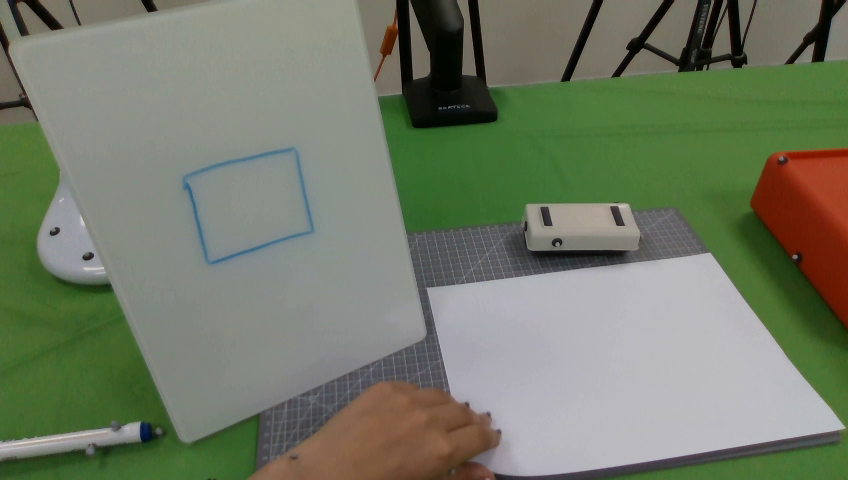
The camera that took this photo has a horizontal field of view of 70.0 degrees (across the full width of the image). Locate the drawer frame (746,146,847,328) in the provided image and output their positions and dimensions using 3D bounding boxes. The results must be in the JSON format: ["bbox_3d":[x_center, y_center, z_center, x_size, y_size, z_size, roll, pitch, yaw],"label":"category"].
[{"bbox_3d":[0.469,-0.005,0.592,0.202,0.083,0.211,-5,41,-4],"label":"drawer frame"}]

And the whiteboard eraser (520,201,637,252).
[{"bbox_3d":[0.158,-0.013,0.628,0.113,0.042,0.055,-1,40,-1],"label":"whiteboard eraser"}]

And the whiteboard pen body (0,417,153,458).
[{"bbox_3d":[-0.282,0.152,0.459,0.141,0.017,0.017,-5,41,-11],"label":"whiteboard pen body"}]

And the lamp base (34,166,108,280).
[{"bbox_3d":[-0.337,-0.078,0.601,0.178,0.182,0.160,22,46,26],"label":"lamp base"}]

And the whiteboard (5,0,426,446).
[{"bbox_3d":[-0.147,-0.033,0.499,0.217,0.307,0.142,-20,26,-20],"label":"whiteboard"}]

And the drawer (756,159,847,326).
[{"bbox_3d":[0.470,0.000,0.587,0.195,0.074,0.209,-4,41,-3],"label":"drawer"}]
